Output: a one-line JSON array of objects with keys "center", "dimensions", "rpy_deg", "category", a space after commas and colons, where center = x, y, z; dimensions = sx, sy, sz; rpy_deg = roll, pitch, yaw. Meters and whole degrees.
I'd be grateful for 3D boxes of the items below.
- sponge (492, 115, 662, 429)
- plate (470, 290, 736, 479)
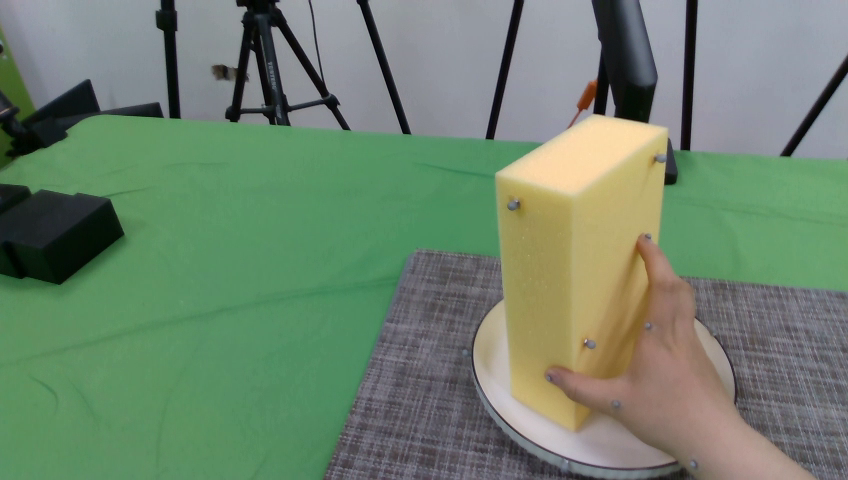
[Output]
[{"center": [0.116, 0.025, 0.455], "dimensions": [0.060, 0.209, 0.118], "rpy_deg": [23, 45, 39], "category": "sponge"}, {"center": [0.141, 0.109, 0.501], "dimensions": [0.207, 0.039, 0.205], "rpy_deg": [-2, 36, 2], "category": "plate"}]
